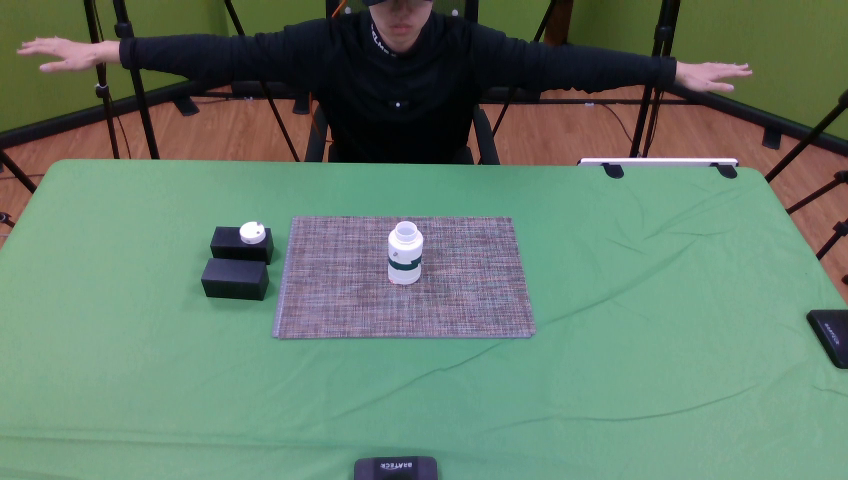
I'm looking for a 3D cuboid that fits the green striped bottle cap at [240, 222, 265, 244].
[{"bbox_3d":[-0.318,-0.013,1.123,0.044,0.020,0.044,0,46,0],"label":"green striped bottle cap"}]

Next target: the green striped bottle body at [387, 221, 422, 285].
[{"bbox_3d":[-0.035,0.021,1.103,0.063,0.120,0.063,2,46,-2],"label":"green striped bottle body"}]
